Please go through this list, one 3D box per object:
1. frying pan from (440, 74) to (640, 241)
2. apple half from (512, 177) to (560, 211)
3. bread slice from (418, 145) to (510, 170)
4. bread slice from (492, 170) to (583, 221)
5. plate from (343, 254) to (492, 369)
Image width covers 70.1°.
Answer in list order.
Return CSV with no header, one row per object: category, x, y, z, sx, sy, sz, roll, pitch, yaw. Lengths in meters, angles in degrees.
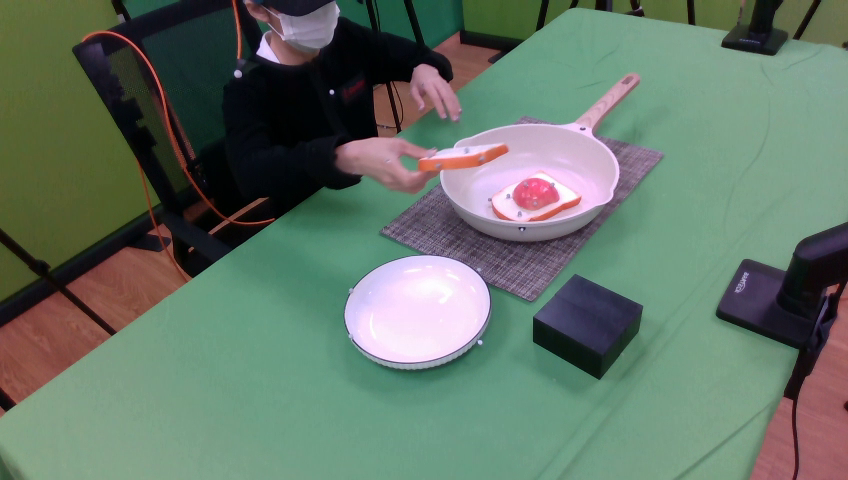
frying pan,0.245,-0.161,1.058,0.304,0.103,0.489,30,61,35
apple half,0.183,-0.085,1.001,0.081,0.033,0.081,-1,41,2
bread slice,0.054,-0.116,0.856,0.104,0.019,0.132,-2,12,26
bread slice,0.183,-0.066,1.015,0.135,0.018,0.106,-28,43,-23
plate,-0.008,0.100,0.847,0.207,0.039,0.206,-4,40,4
